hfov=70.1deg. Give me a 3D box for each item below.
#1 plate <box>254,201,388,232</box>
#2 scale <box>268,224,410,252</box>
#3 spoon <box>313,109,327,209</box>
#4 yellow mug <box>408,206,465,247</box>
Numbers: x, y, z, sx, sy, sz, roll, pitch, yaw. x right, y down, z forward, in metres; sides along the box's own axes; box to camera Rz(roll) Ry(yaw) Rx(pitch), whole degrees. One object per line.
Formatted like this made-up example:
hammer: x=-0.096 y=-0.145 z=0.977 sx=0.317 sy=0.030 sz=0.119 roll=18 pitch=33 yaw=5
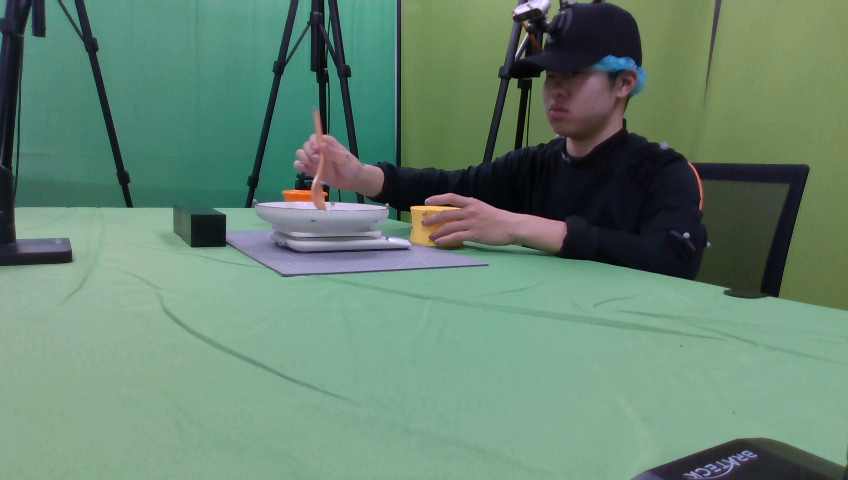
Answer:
plate: x=-0.161 y=-0.038 z=0.961 sx=0.209 sy=0.038 sz=0.209 roll=2 pitch=6 yaw=0
scale: x=-0.138 y=-0.006 z=0.980 sx=0.202 sy=0.031 sz=0.148 roll=-1 pitch=8 yaw=-30
spoon: x=-0.172 y=-0.134 z=1.013 sx=0.021 sy=0.193 sz=0.042 roll=-7 pitch=-19 yaw=16
yellow mug: x=0.027 y=-0.027 z=1.104 sx=0.099 sy=0.064 sz=0.131 roll=6 pitch=7 yaw=19
